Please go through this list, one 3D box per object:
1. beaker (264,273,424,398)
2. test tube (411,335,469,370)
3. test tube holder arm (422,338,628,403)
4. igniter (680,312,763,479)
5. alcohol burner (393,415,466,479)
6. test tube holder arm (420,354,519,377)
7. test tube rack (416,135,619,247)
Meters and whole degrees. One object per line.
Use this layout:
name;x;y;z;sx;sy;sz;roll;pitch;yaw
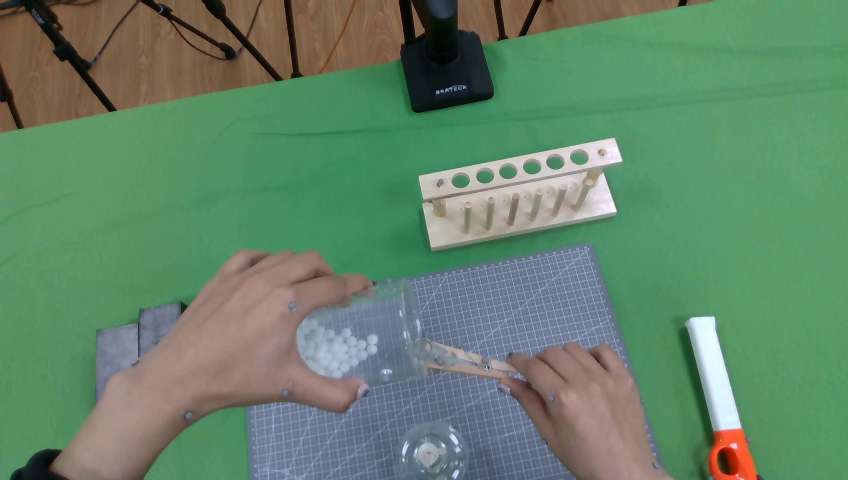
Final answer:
beaker;-0.056;0.072;0.439;0.100;0.085;0.073;-12;58;4
test tube;0.018;0.102;0.537;0.017;0.151;0.017;-5;72;16
test tube holder arm;0.084;0.112;0.522;0.178;0.015;0.013;11;82;16
igniter;0.328;0.213;0.662;0.057;0.025;0.274;-1;67;-8
alcohol burner;0.005;0.219;0.627;0.078;0.120;0.077;-1;65;3
test tube holder arm;0.040;0.110;0.533;0.087;0.015;0.010;4;79;14
test tube rack;0.117;-0.059;0.756;0.242;0.086;0.066;-11;67;-1
